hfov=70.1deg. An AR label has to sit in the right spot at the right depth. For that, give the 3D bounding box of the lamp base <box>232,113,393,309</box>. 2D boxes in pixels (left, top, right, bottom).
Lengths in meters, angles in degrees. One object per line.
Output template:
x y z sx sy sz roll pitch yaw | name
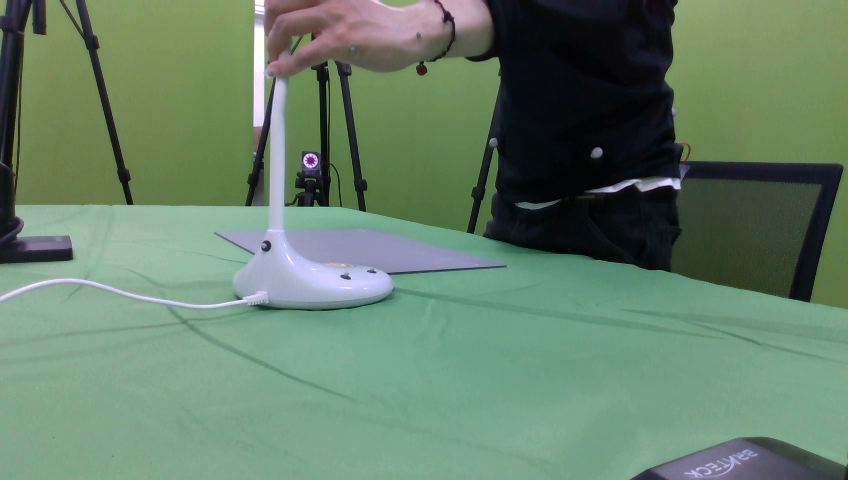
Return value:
-0.113 -0.031 0.594 0.160 0.180 0.179 4 10 18 | lamp base
